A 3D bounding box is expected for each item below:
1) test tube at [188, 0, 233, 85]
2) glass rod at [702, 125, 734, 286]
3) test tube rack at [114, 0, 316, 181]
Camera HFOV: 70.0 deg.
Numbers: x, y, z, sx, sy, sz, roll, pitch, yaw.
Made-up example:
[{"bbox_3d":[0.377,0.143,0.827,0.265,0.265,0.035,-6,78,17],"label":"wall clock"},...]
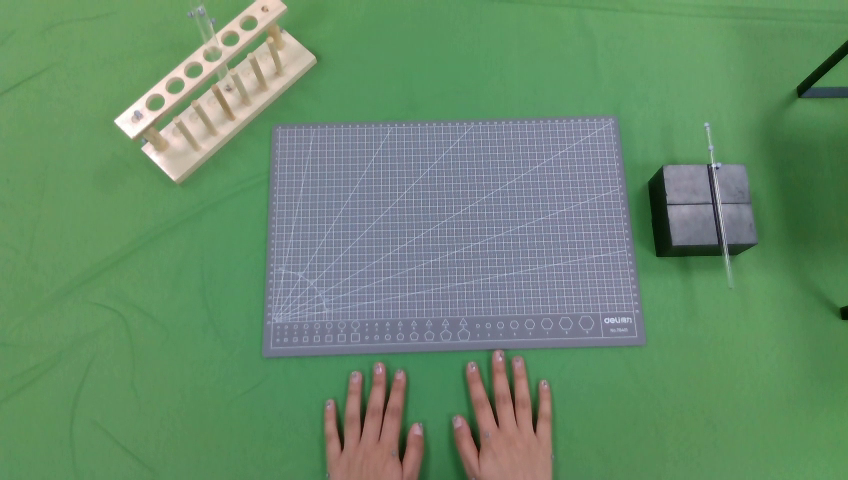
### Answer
[{"bbox_3d":[-0.249,-0.230,0.714,0.017,0.151,0.017,1,70,-3],"label":"test tube"},{"bbox_3d":[0.343,-0.044,0.707,0.008,0.008,0.198,-1,74,-1],"label":"glass rod"},{"bbox_3d":[-0.251,-0.191,0.754,0.066,0.085,0.242,42,78,11],"label":"test tube rack"}]
